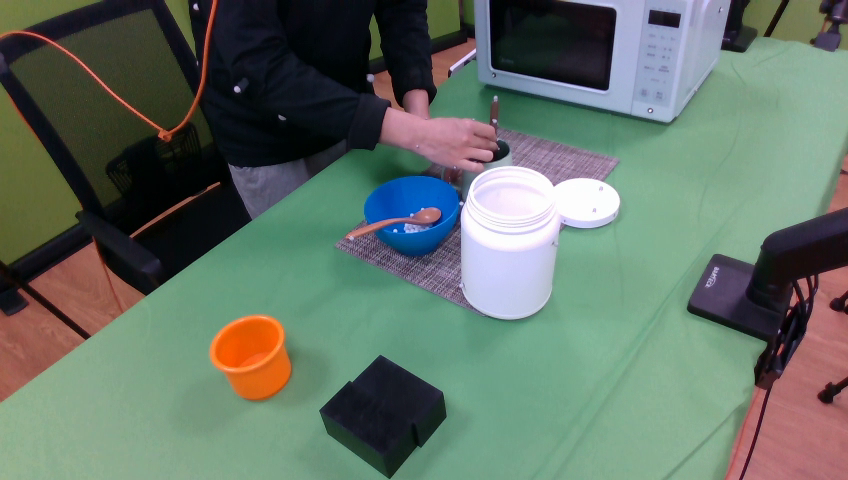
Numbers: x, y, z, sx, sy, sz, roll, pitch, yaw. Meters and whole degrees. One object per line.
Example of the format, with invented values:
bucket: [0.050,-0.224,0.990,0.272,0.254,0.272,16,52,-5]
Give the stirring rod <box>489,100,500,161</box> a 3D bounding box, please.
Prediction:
stirring rod: [0.114,-0.149,0.989,0.014,0.177,0.005,-24,46,-22]

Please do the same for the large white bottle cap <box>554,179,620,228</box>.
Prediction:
large white bottle cap: [0.265,-0.062,1.001,0.115,0.018,0.114,-3,41,3]

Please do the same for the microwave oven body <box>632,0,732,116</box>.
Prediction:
microwave oven body: [0.377,-0.463,1.267,0.438,0.261,0.327,21,49,30]

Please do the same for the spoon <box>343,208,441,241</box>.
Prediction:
spoon: [-0.046,-0.025,0.911,0.041,0.021,0.195,26,27,37]

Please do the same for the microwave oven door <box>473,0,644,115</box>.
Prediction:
microwave oven door: [0.257,-0.396,1.199,0.353,0.245,0.039,21,48,29]

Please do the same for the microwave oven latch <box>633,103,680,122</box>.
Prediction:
microwave oven latch: [0.443,-0.249,1.157,0.078,0.029,0.030,20,48,29]

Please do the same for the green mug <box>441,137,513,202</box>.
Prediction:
green mug: [0.090,-0.108,1.012,0.125,0.105,0.092,2,41,11]

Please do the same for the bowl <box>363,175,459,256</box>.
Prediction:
bowl: [-0.017,-0.028,0.955,0.151,0.077,0.150,-4,40,4]

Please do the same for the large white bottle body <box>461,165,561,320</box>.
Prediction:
large white bottle body: [0.115,0.004,0.816,0.130,0.185,0.130,-2,43,2]
